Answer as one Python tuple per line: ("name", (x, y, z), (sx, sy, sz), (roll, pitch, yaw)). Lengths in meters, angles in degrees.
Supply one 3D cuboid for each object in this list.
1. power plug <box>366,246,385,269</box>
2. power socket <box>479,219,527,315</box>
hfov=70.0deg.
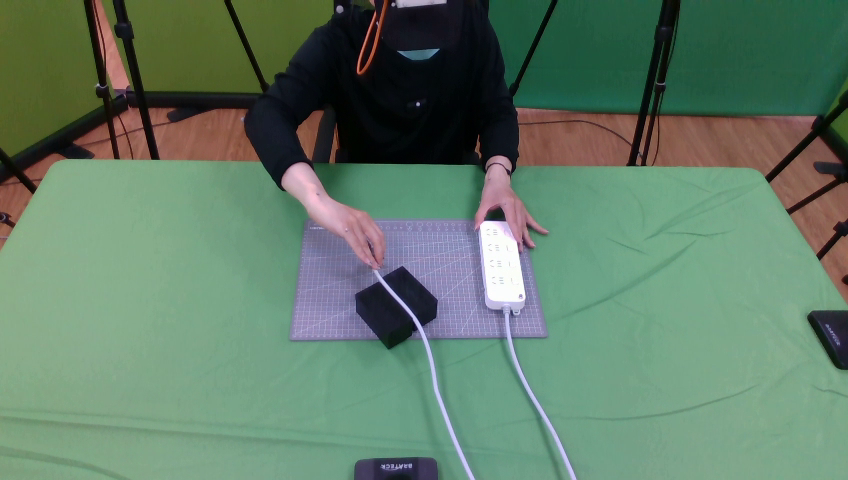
("power plug", (-0.098, 0.041, 1.122), (0.035, 0.053, 0.072), (12, 45, 18))
("power socket", (0.148, 0.042, 1.151), (0.072, 0.033, 0.225), (1, 47, -1))
